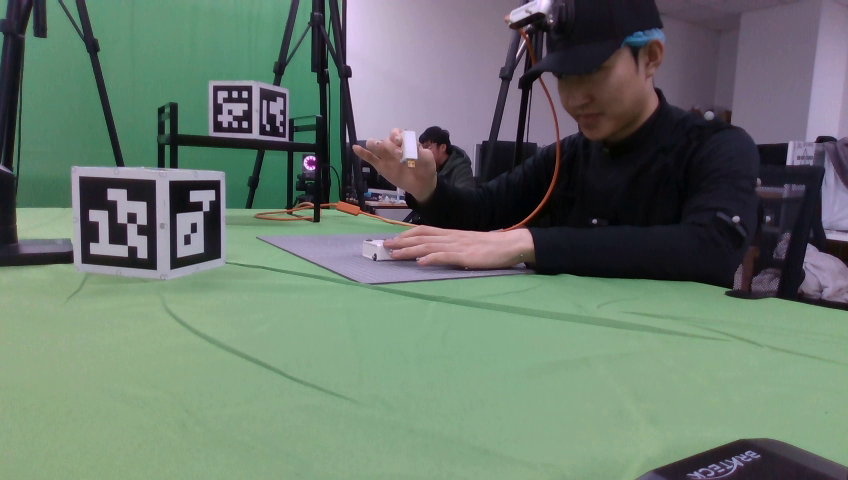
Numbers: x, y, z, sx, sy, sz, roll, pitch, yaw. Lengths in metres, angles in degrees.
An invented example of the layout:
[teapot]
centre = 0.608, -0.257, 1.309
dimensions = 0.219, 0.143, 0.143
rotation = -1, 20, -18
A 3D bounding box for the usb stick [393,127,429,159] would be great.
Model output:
[usb stick]
centre = -0.022, -0.154, 0.927
dimensions = 0.059, 0.027, 0.021
rotation = 46, 24, 1

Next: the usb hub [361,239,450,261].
[usb hub]
centre = -0.027, 0.014, 0.894
dimensions = 0.126, 0.025, 0.049
rotation = -1, 8, -32
